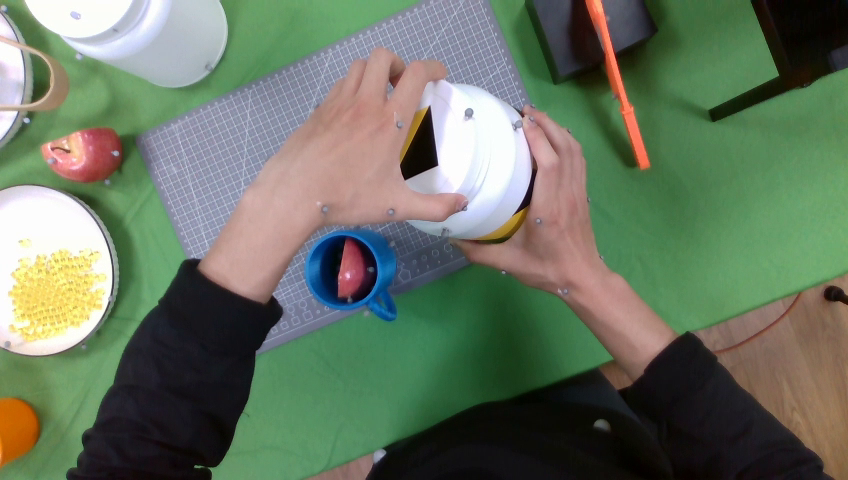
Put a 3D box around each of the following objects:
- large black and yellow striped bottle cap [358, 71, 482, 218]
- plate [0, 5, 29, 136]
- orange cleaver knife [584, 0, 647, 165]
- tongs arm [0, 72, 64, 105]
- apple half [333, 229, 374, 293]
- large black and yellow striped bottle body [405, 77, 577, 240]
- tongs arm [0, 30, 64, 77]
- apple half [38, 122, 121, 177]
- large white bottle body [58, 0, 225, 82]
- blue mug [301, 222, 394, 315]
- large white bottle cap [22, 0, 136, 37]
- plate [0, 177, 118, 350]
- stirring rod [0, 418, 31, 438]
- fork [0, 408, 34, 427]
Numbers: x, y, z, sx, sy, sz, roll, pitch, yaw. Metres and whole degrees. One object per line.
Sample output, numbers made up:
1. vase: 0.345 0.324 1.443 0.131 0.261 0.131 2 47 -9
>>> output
1. large black and yellow striped bottle cap: -0.007 -0.075 0.480 0.114 0.019 0.114 -5 82 37
2. plate: -0.570 -0.205 0.730 0.207 0.039 0.208 0 94 4
3. orange cleaver knife: 0.202 -0.180 0.651 0.012 0.076 0.213 -21 118 14
4. tongs arm: -0.605 -0.181 0.702 0.384 0.026 0.051 6 91 6
5. apple half: -0.070 0.024 0.666 0.032 0.081 0.081 11 94 12
6. large black and yellow striped bottle body: 0.045 -0.070 0.549 0.130 0.185 0.130 -4 84 37
7. tongs arm: -0.590 -0.263 0.697 0.387 0.028 0.028 20 88 5
8. apple half: -0.394 -0.101 0.706 0.081 0.074 0.053 -19 95 1
9. large white bottle body: -0.305 -0.249 0.633 0.130 0.184 0.130 0 93 5
10. blue mug: -0.072 0.035 0.672 0.082 0.106 0.116 -38 90 6
11. large white bottle cap: -0.314 -0.244 0.549 0.115 0.018 0.115 0 94 5
12. plate: -0.470 0.028 0.738 0.209 0.038 0.209 0 94 5
13. stirring rod: -0.561 0.248 0.706 0.177 0.006 0.014 -16 80 -35
14. fork: -0.577 0.233 0.704 0.208 0.018 0.028 -8 93 -38
